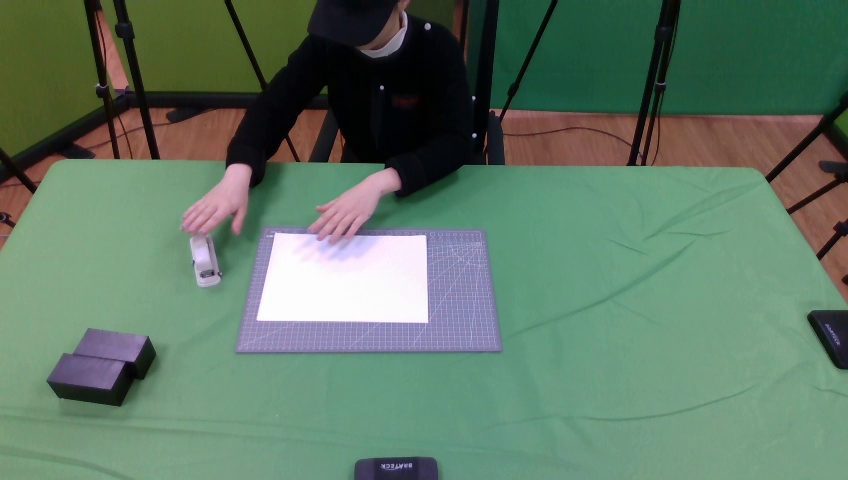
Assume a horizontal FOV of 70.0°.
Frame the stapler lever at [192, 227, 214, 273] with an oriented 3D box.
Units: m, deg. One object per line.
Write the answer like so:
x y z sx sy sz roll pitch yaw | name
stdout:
-0.410 0.013 1.119 0.027 0.040 0.117 -13 48 -18 | stapler lever

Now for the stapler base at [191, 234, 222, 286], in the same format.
-0.410 0.031 1.135 0.041 0.024 0.129 -13 47 -18 | stapler base
